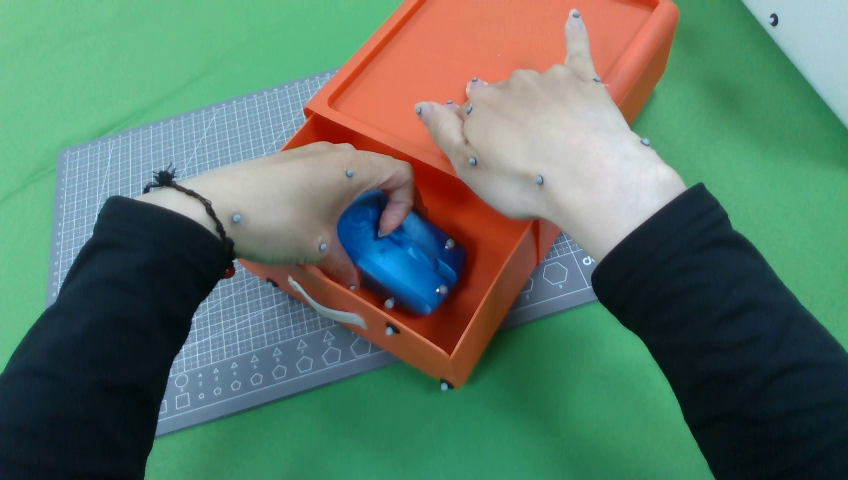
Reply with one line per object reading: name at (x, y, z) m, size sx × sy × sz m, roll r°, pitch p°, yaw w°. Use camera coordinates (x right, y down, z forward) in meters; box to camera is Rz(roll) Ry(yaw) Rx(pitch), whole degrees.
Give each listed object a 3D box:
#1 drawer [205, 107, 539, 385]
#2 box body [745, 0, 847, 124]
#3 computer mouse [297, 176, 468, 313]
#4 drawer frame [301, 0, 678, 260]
drawer at (-0.008, -0.035, 0.434) m, size 0.193 × 0.074 × 0.211 m, roll 26°, pitch 65°, yaw 23°
box body at (0.389, -0.251, 0.449) m, size 0.254 × 0.162 × 0.360 m, roll -16°, pitch 59°, yaw 0°
computer mouse at (-0.028, -0.001, 0.423) m, size 0.117 × 0.041 × 0.062 m, roll 31°, pitch 57°, yaw 11°
drawer frame at (0.051, -0.117, 0.471) m, size 0.200 × 0.083 × 0.213 m, roll 27°, pitch 67°, yaw 23°
